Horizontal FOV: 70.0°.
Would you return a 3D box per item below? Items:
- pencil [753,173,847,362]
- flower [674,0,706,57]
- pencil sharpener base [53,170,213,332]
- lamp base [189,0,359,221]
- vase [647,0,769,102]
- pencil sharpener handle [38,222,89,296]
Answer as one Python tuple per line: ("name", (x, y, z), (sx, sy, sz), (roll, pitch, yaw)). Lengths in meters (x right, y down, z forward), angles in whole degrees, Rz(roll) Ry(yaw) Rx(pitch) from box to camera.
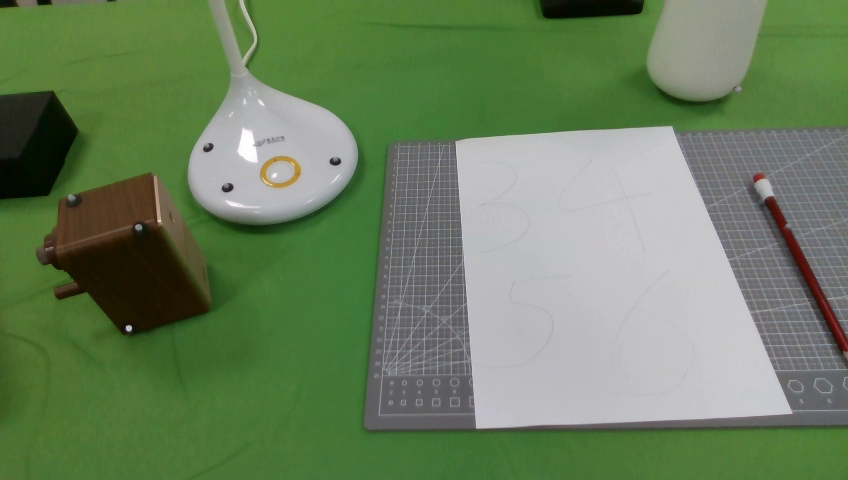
("pencil", (0.297, 0.018, 0.476), (0.012, 0.012, 0.192), (-3, 52, 2))
("flower", (0.262, -0.267, 0.489), (0.044, 0.364, 0.038), (41, 77, 17))
("pencil sharpener base", (-0.216, 0.012, 0.458), (0.077, 0.108, 0.060), (-18, 51, -10))
("lamp base", (-0.154, -0.136, 0.529), (0.161, 0.182, 0.177), (-26, 51, -17))
("vase", (0.274, -0.230, 0.565), (0.098, 0.202, 0.097), (-3, 49, 4))
("pencil sharpener handle", (-0.265, 0.018, 0.440), (0.031, 0.068, 0.035), (-18, 55, -10))
